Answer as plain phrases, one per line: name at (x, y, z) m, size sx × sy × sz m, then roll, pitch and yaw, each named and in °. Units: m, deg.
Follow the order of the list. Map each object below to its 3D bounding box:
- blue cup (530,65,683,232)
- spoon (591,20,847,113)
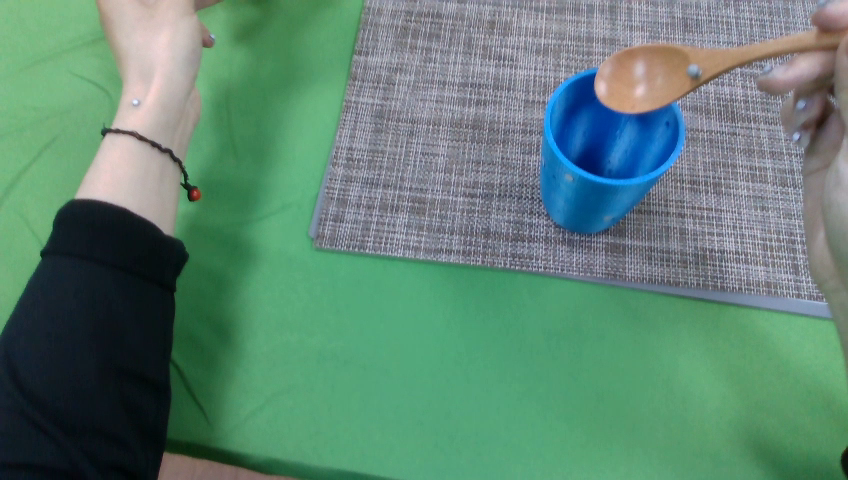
blue cup at (0.117, -0.052, 0.414) m, size 0.092 × 0.101 × 0.092 m, roll -1°, pitch 66°, yaw 3°
spoon at (0.173, -0.092, 0.296) m, size 0.192 × 0.022 × 0.041 m, roll 0°, pitch 78°, yaw 46°
